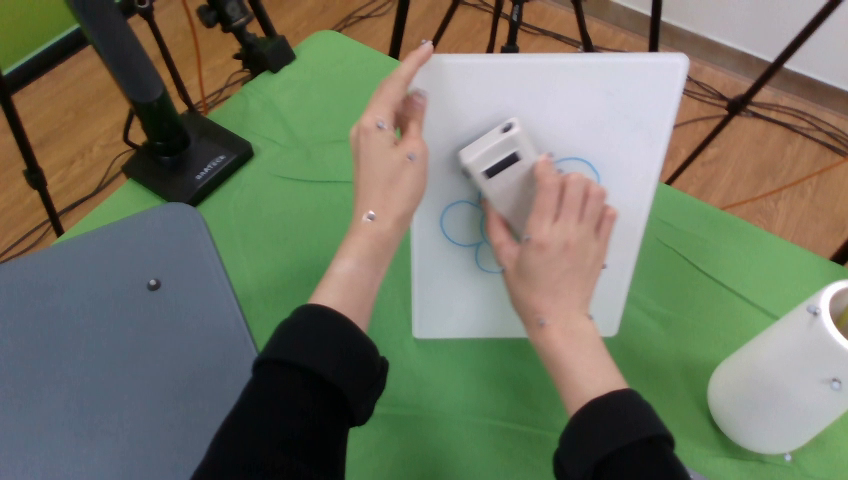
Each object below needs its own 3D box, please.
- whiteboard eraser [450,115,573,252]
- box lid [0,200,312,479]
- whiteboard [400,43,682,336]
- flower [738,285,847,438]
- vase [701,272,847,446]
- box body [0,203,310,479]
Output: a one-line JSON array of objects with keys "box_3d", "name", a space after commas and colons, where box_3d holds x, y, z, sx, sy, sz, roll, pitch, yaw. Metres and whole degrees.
[{"box_3d": [0.074, -0.045, 0.503, 0.055, 0.114, 0.041, -35, 31, 12], "name": "whiteboard eraser"}, {"box_3d": [-0.237, 0.140, 0.421, 0.263, 0.015, 0.367, -24, 60, -16], "name": "box lid"}, {"box_3d": [0.090, -0.064, 0.601, 0.217, 0.308, 0.142, 0, 37, 0], "name": "whiteboard"}, {"box_3d": [0.318, 0.046, 0.458, 0.044, 0.364, 0.038, 23, 42, 18], "name": "flower"}, {"box_3d": [0.317, 0.105, 0.519, 0.098, 0.202, 0.097, 0, 55, 0], "name": "vase"}, {"box_3d": [-0.237, 0.182, 0.482, 0.254, 0.162, 0.360, -24, 60, -15], "name": "box body"}]
